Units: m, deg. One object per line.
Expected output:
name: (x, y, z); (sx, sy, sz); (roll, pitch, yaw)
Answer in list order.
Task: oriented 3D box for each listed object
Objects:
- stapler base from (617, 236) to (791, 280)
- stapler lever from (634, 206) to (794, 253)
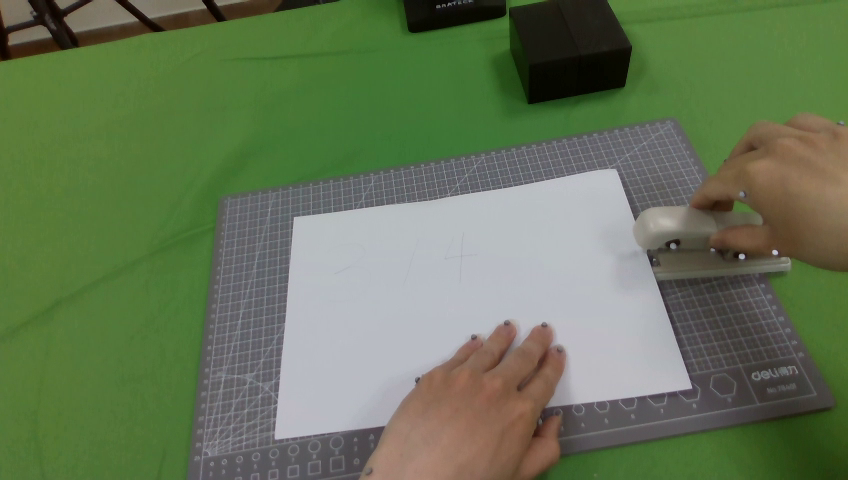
stapler base: (0.222, 0.006, 0.481); (0.130, 0.024, 0.041); (-3, 55, 3)
stapler lever: (0.221, -0.009, 0.462); (0.118, 0.040, 0.026); (-4, 55, 4)
